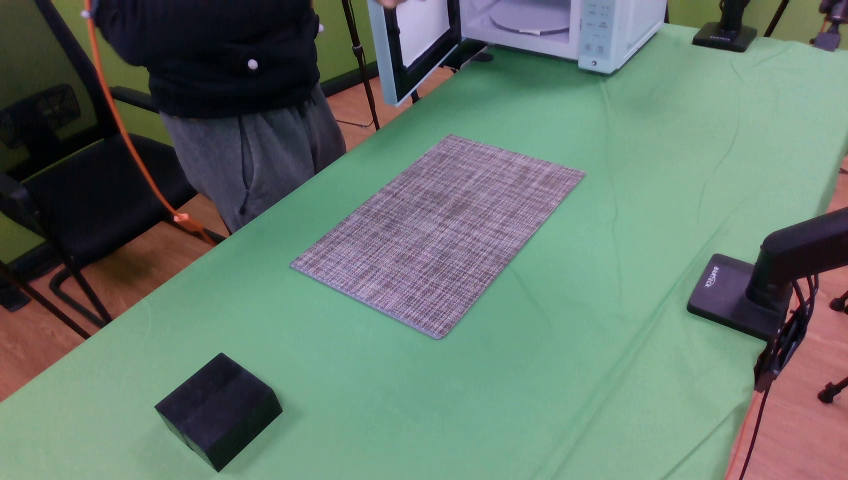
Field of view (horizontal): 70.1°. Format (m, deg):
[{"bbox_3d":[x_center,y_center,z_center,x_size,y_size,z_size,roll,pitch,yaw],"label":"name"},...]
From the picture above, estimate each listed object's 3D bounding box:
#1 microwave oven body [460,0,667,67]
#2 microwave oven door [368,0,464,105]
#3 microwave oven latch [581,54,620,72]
[{"bbox_3d":[0.324,-0.608,1.437,0.438,0.261,0.327,22,50,31],"label":"microwave oven body"},{"bbox_3d":[-0.007,-0.496,1.348,0.039,0.245,0.356,14,46,23],"label":"microwave oven door"},{"bbox_3d":[0.387,-0.393,1.330,0.078,0.029,0.030,26,52,33],"label":"microwave oven latch"}]
